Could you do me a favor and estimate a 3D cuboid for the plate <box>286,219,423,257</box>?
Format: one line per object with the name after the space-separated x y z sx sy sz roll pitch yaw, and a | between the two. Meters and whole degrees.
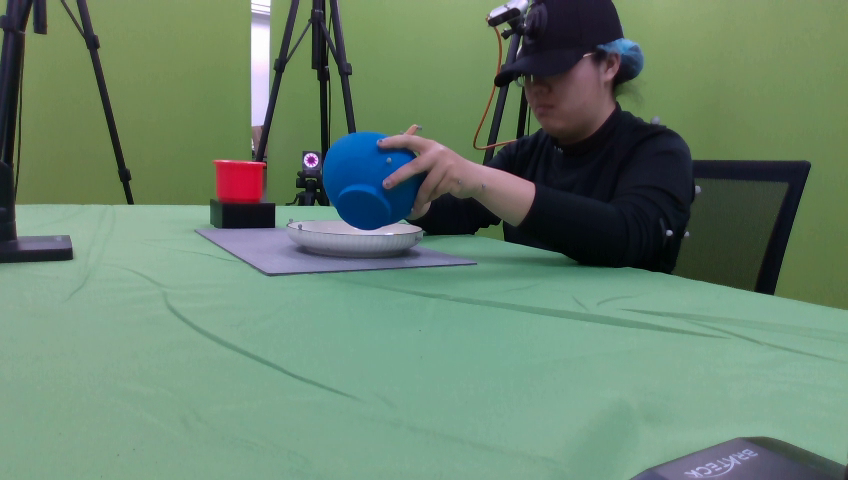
-0.105 -0.003 0.922 0.208 0.039 0.207 3 7 0 | plate

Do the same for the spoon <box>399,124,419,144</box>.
-0.061 -0.118 0.900 0.041 0.022 0.194 6 41 35 | spoon

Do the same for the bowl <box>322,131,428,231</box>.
-0.076 -0.065 0.829 0.151 0.151 0.077 3 46 10 | bowl
